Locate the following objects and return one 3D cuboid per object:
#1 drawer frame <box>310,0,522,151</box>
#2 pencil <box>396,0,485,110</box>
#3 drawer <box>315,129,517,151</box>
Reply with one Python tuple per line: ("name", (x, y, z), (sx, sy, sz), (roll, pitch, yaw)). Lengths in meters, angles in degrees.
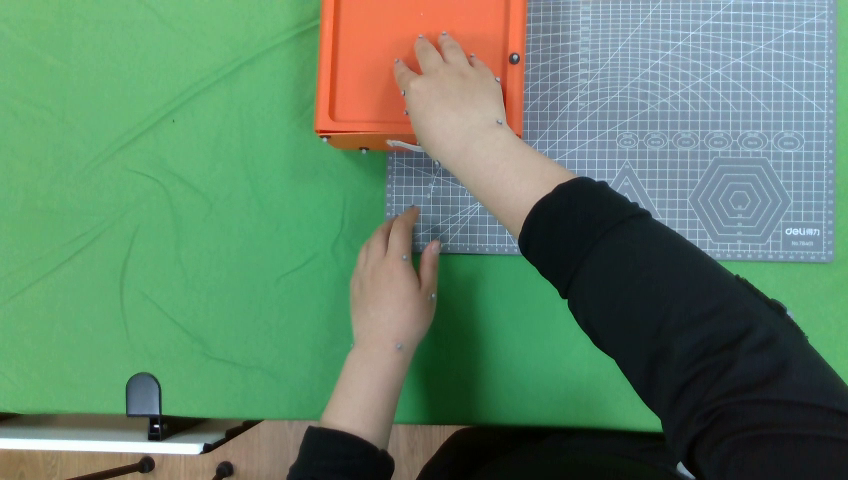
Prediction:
("drawer frame", (-0.004, -0.202, 0.605), (0.201, 0.083, 0.213), (1, 88, 8))
("pencil", (0.004, -0.210, 0.627), (0.012, 0.012, 0.193), (-37, 85, 4))
("drawer", (-0.002, -0.196, 0.606), (0.194, 0.073, 0.211), (2, 87, 7))
